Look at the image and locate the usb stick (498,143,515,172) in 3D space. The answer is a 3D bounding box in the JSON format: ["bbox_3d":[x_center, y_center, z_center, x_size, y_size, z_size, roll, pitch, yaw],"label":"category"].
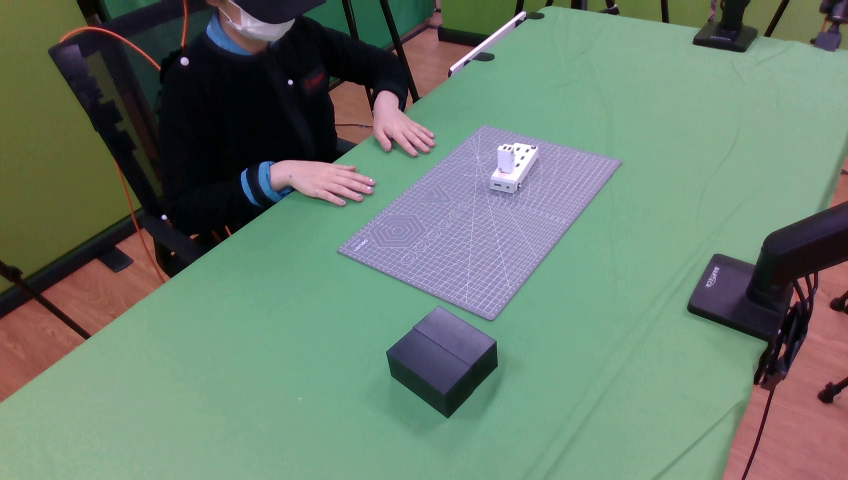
[{"bbox_3d":[0.144,-0.137,1.052,0.027,0.059,0.021,15,45,21],"label":"usb stick"}]

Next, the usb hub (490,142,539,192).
[{"bbox_3d":[0.165,-0.132,1.092,0.049,0.025,0.125,15,46,24],"label":"usb hub"}]
